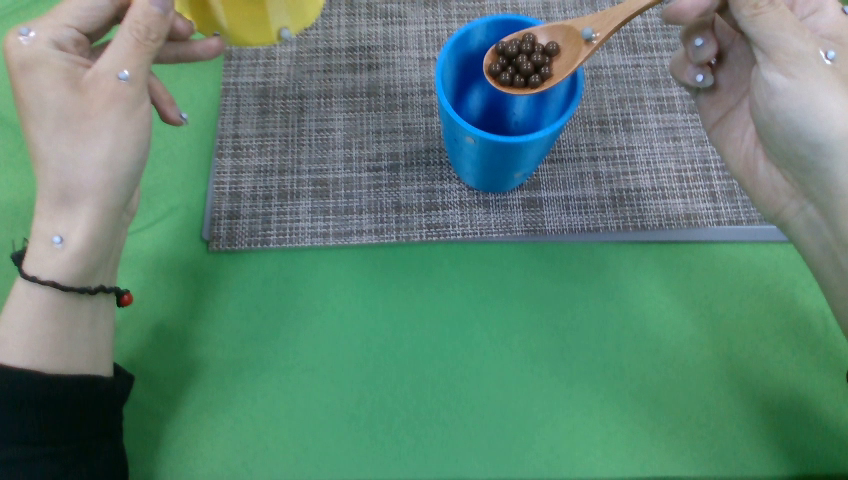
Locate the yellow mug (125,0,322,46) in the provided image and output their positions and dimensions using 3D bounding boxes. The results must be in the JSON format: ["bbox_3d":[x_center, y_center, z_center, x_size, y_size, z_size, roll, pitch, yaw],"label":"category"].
[{"bbox_3d":[-0.118,-0.163,0.345,0.100,0.064,0.130,37,74,5],"label":"yellow mug"}]

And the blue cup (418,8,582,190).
[{"bbox_3d":[0.047,-0.079,0.388,0.092,0.101,0.092,0,71,1],"label":"blue cup"}]

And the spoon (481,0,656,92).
[{"bbox_3d":[0.119,-0.123,0.302,0.193,0.022,0.041,-22,64,22],"label":"spoon"}]
